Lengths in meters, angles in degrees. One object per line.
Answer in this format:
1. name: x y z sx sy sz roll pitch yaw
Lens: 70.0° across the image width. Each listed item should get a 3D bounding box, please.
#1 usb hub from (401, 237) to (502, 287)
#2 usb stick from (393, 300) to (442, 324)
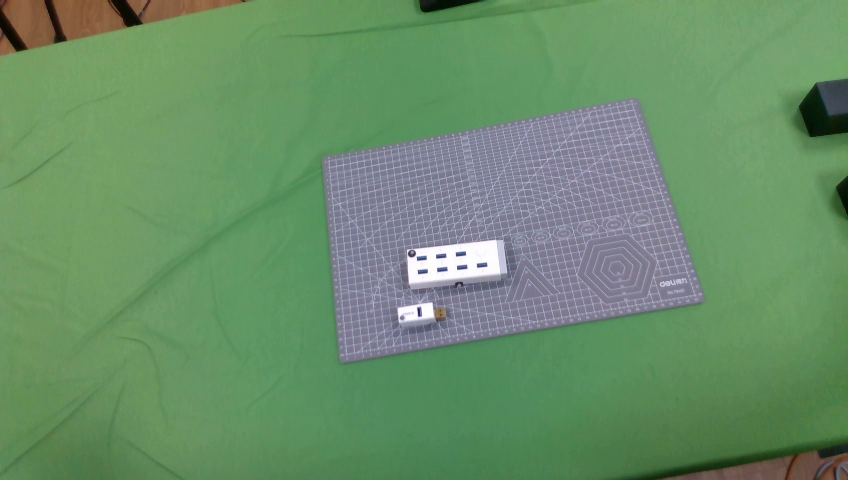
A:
1. usb hub: 0.034 0.027 0.768 0.125 0.025 0.049 -6 67 4
2. usb stick: -0.007 0.088 0.747 0.059 0.027 0.021 -7 68 1
